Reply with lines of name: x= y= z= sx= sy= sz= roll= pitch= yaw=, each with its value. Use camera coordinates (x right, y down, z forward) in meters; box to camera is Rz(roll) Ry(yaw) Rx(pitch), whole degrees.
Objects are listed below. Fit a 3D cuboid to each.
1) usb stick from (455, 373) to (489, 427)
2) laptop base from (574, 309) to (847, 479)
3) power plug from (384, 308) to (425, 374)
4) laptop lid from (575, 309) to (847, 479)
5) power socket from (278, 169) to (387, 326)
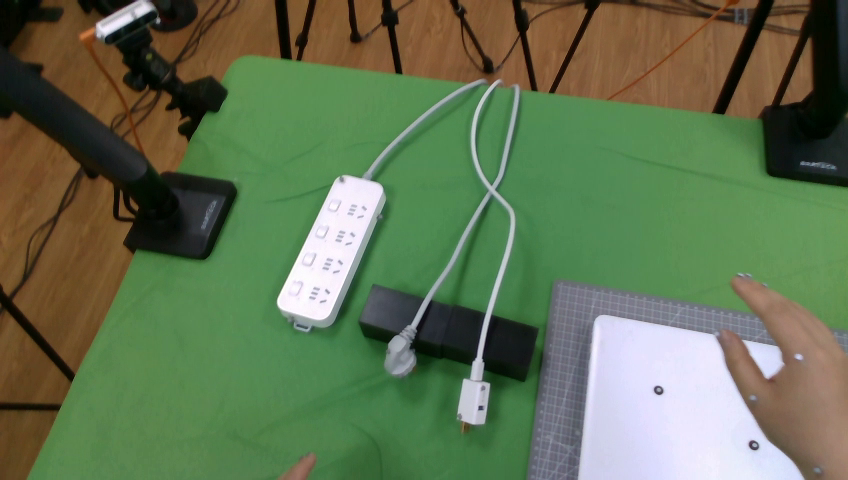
usb stick: x=0.051 y=0.176 z=0.660 sx=0.027 sy=0.022 sz=0.059 roll=11 pitch=87 yaw=43
laptop base: x=0.347 y=0.215 z=0.651 sx=0.353 sy=0.023 sz=0.234 roll=10 pitch=66 yaw=8
power plug: x=-0.013 y=0.120 z=0.682 sx=0.072 sy=0.053 sz=0.035 roll=-36 pitch=45 yaw=-7
laptop lid: x=0.346 y=0.211 z=0.639 sx=0.356 sy=0.013 sz=0.240 roll=11 pitch=65 yaw=9
power socket: x=-0.114 y=0.003 z=0.778 sx=0.072 sy=0.033 sz=0.225 roll=16 pitch=63 yaw=10
